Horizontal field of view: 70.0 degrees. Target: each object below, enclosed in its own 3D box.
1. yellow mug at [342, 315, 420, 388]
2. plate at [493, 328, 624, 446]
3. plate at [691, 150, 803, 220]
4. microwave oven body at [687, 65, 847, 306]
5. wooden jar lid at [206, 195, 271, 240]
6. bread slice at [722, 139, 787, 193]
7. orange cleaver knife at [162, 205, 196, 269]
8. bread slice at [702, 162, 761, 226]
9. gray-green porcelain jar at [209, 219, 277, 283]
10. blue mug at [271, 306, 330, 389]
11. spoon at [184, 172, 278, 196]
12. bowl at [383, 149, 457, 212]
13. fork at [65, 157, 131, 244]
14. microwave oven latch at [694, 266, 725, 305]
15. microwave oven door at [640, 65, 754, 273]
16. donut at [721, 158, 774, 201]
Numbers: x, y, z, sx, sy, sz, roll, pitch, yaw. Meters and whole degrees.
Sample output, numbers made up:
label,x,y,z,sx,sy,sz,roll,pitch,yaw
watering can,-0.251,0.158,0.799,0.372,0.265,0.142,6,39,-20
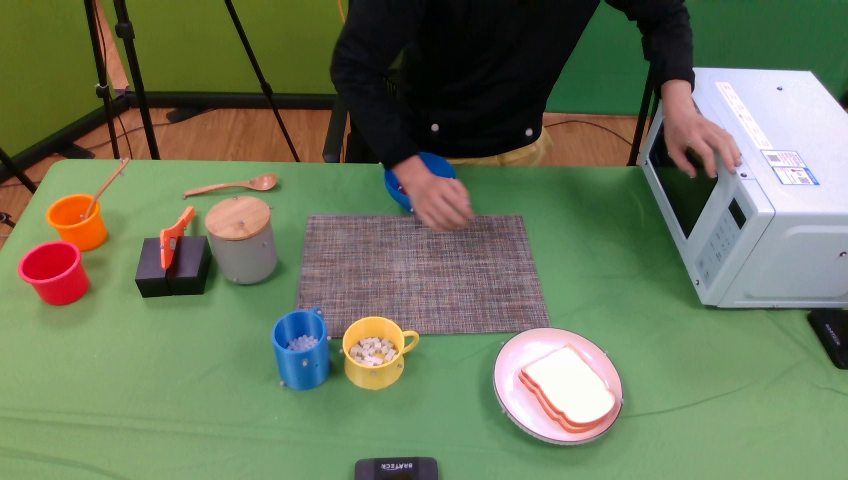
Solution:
label,x,y,z,sx,sy,sz,roll,pitch,yaw
yellow mug,-0.067,0.177,0.990,0.131,0.064,0.099,-16,50,-19
plate,0.213,0.236,0.974,0.208,0.039,0.206,2,46,-2
plate,0.653,-0.108,1.237,0.209,0.038,0.208,0,45,1
microwave oven body,0.669,-0.111,1.176,0.326,0.261,0.439,0,46,-3
wooden jar lid,-0.319,-0.036,1.046,0.108,0.021,0.107,1,44,0
bread slice,0.660,-0.148,1.201,0.107,0.018,0.133,-2,54,9
orange cleaver knife,-0.454,-0.010,1.129,0.012,0.077,0.210,-2,20,-5
bread slice,0.647,-0.102,1.267,0.105,0.019,0.131,15,72,12
gray-green porcelain jar,-0.323,0.007,1.092,0.106,0.127,0.105,2,46,-2
blue mug,-0.188,0.163,0.969,0.082,0.106,0.116,15,47,10
spoon,-0.405,-0.117,1.275,0.194,0.022,0.041,-8,65,-12
bowl,-0.009,-0.112,1.262,0.151,0.077,0.150,2,46,-2
fork,-0.609,-0.074,1.133,0.207,0.019,0.028,-52,51,10
microwave oven latch,0.523,0.082,1.115,0.030,0.029,0.078,3,46,0
microwave oven door,0.523,-0.147,1.193,0.039,0.245,0.353,0,47,-3
donut,0.648,-0.121,1.216,0.099,0.048,0.098,-3,56,4
